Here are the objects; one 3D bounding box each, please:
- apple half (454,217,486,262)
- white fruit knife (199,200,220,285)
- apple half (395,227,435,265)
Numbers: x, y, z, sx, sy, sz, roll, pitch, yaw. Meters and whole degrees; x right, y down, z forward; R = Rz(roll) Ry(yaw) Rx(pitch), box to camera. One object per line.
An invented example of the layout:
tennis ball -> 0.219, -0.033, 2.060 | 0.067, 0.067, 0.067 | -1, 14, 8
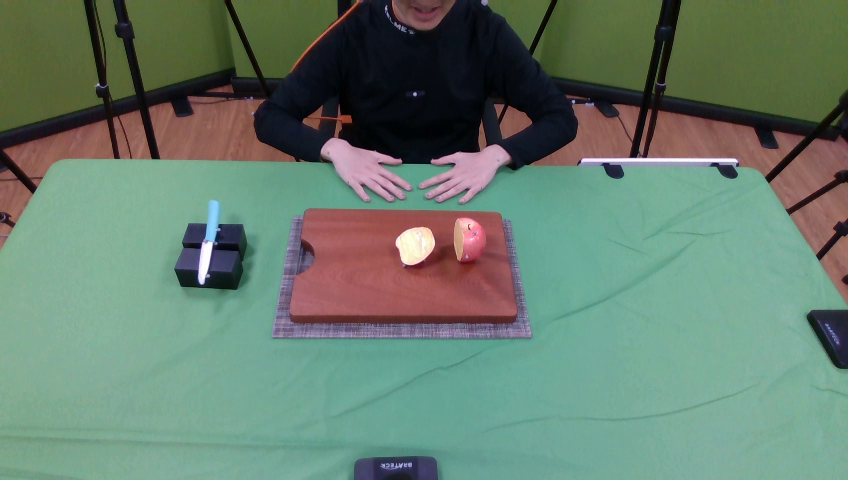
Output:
apple half -> 0.088, 0.000, 1.126 | 0.053, 0.075, 0.080 | -2, 42, -11
white fruit knife -> -0.391, 0.001, 1.104 | 0.027, 0.016, 0.206 | -18, 49, 10
apple half -> -0.011, 0.015, 1.126 | 0.081, 0.033, 0.081 | -9, 58, 15
